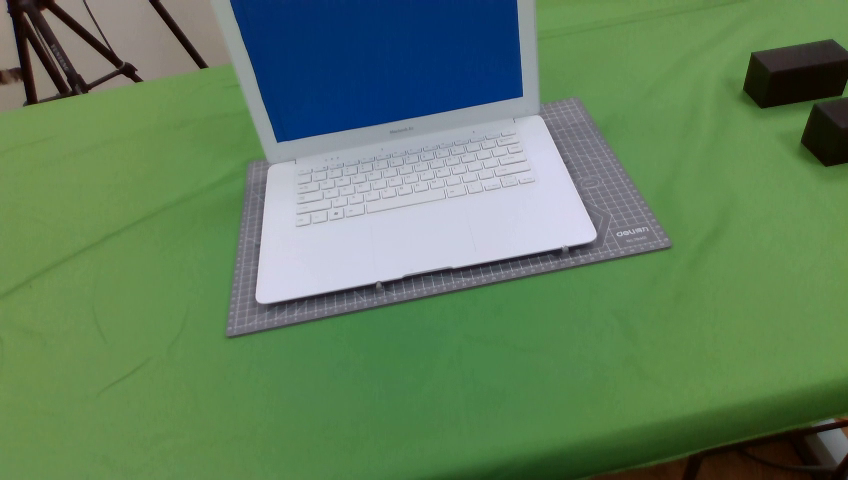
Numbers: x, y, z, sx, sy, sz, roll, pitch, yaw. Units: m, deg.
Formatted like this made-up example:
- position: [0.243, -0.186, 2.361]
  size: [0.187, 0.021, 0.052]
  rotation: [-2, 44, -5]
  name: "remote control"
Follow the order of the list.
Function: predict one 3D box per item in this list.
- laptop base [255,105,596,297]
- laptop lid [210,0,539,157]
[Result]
- position: [-0.011, -0.052, 0.690]
  size: [0.354, 0.023, 0.233]
  rotation: [-11, 47, 0]
  name: "laptop base"
- position: [-0.046, -0.227, 0.702]
  size: [0.357, 0.244, 0.013]
  rotation: [-12, 37, 1]
  name: "laptop lid"
